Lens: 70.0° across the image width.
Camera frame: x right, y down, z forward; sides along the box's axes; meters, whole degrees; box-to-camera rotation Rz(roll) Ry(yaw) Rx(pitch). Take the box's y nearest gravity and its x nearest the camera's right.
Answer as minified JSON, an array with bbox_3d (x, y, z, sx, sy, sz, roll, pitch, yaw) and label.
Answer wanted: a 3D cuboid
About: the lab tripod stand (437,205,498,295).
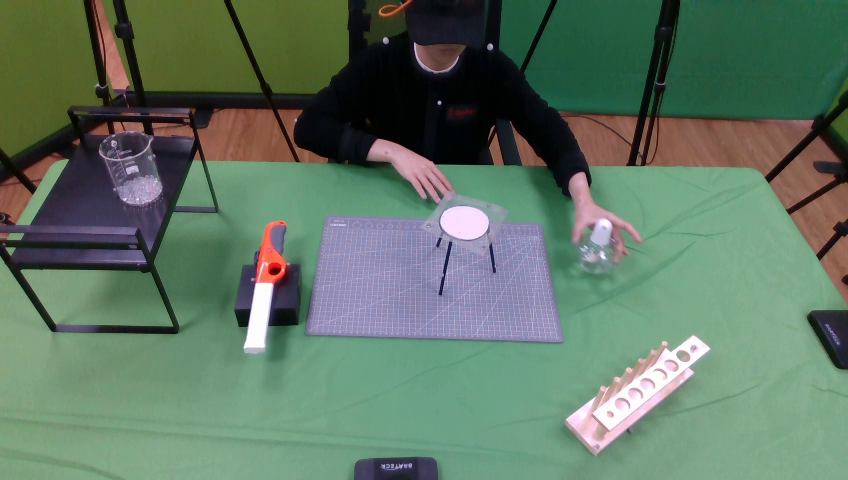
[{"bbox_3d":[0.066,0.010,1.107,0.148,0.132,0.147,0,46,0],"label":"lab tripod stand"}]

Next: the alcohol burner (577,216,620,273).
[{"bbox_3d":[0.321,0.003,1.101,0.078,0.120,0.077,1,44,-1],"label":"alcohol burner"}]

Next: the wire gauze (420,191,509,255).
[{"bbox_3d":[0.072,-0.035,1.058,0.125,0.011,0.121,21,48,18],"label":"wire gauze"}]

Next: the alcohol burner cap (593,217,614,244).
[{"bbox_3d":[0.322,-0.019,1.079,0.034,0.048,0.033,0,45,0],"label":"alcohol burner cap"}]

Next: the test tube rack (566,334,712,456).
[{"bbox_3d":[0.339,0.228,0.950,0.242,0.085,0.066,-27,52,-26],"label":"test tube rack"}]

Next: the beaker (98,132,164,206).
[{"bbox_3d":[-0.460,-0.112,0.968,0.073,0.101,0.084,37,54,28],"label":"beaker"}]

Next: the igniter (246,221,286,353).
[{"bbox_3d":[-0.270,0.070,1.040,0.057,0.025,0.274,2,48,-6],"label":"igniter"}]
